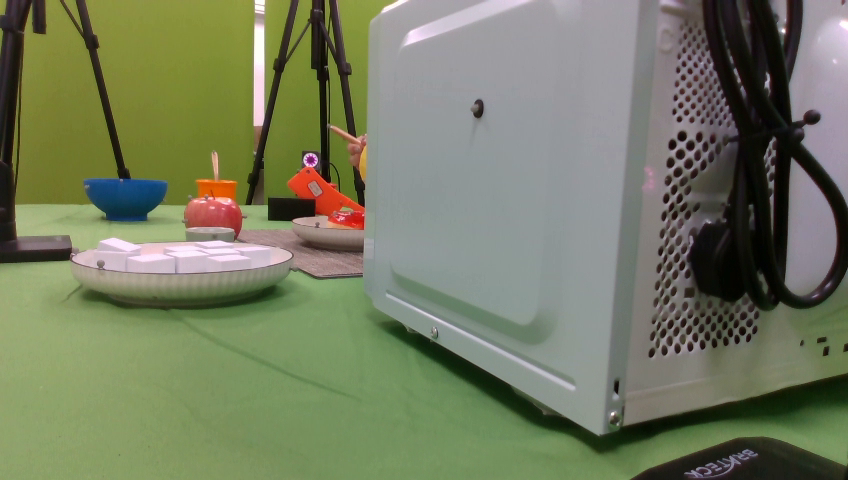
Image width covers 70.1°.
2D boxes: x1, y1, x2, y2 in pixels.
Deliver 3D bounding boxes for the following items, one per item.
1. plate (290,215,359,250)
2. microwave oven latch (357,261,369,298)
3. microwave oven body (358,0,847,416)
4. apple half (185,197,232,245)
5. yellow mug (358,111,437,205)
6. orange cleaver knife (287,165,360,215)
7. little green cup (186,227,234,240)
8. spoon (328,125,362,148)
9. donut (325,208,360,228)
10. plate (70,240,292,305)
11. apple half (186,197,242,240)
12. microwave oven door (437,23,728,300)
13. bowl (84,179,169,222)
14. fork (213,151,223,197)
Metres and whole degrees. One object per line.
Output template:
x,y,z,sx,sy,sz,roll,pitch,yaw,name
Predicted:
-0.110,-0.014,0.973,0.209,0.038,0.209,2,8,0,plate
-0.019,0.033,0.530,0.079,0.029,0.030,-1,7,-26,microwave oven latch
0.211,-0.047,0.474,0.444,0.260,0.324,-1,7,-28,microwave oven body
-0.337,-0.031,0.928,0.032,0.081,0.082,13,13,37,apple half
-0.036,-0.123,0.879,0.100,0.131,0.063,-13,31,-34,yellow mug
-0.211,-0.093,1.382,0.212,0.077,0.012,33,1,-15,orange cleaver knife
-0.285,0.005,0.805,0.061,0.038,0.061,3,8,0,little green cup
-0.087,-0.137,0.947,0.193,0.021,0.042,41,24,29,spoon
-0.110,-0.025,0.974,0.099,0.048,0.099,5,8,0,donut
-0.242,0.031,0.618,0.208,0.039,0.207,2,8,0,plate
-0.307,-0.026,0.904,0.053,0.074,0.081,14,9,37,apple half
0.181,-0.072,0.621,0.358,0.243,0.039,-2,8,-29,microwave oven door
-0.584,-0.078,1.194,0.151,0.077,0.151,3,8,0,bowl
-0.494,-0.143,1.442,0.028,0.018,0.206,-2,52,-20,fork
